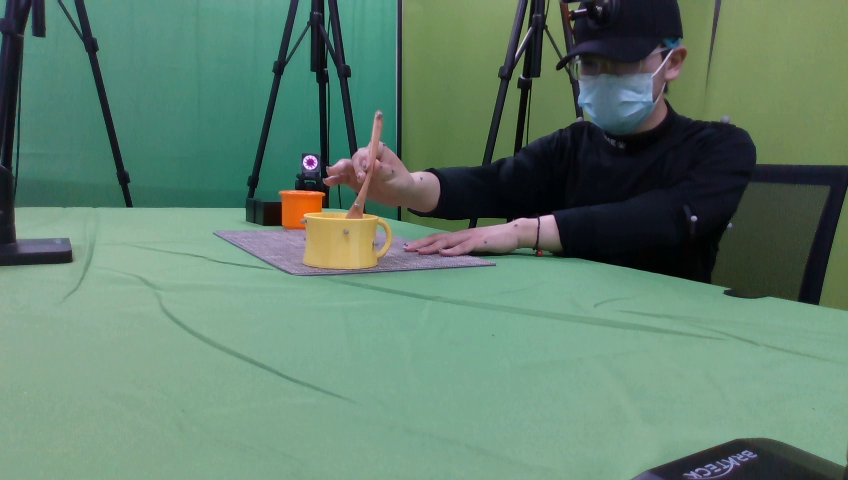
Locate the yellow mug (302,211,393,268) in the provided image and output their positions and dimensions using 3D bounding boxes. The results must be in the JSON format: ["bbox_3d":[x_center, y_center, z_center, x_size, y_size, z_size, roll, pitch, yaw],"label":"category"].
[{"bbox_3d":[-0.098,-0.003,0.810,0.131,0.064,0.099,-2,8,-37],"label":"yellow mug"}]

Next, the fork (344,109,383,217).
[{"bbox_3d":[-0.080,-0.083,0.807,0.028,0.207,0.018,21,-16,-32],"label":"fork"}]
